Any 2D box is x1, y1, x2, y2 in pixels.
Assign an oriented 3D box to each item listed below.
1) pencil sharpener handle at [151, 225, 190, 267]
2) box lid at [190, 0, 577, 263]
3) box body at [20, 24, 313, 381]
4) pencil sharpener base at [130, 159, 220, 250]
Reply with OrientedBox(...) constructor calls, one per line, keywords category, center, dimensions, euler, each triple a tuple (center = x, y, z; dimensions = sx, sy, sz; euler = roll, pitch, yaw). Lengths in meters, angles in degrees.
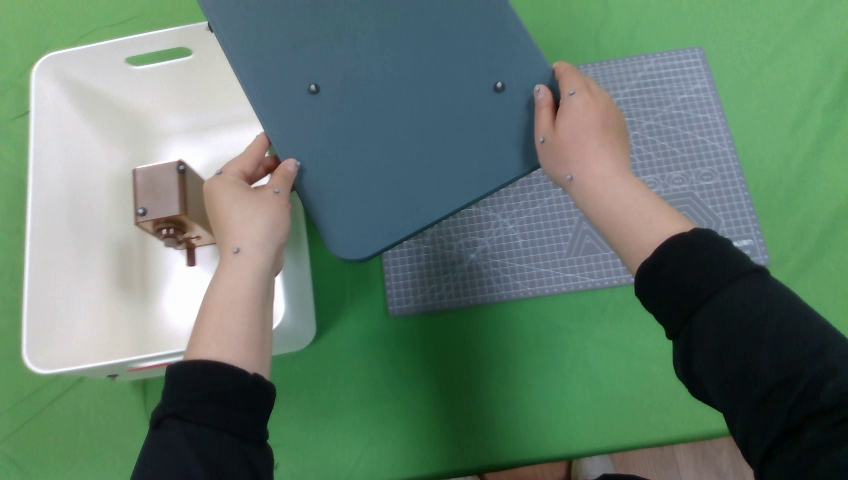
OrientedBox(category="pencil sharpener handle", center=(-0.282, 0.008, 0.687), dimensions=(0.036, 0.068, 0.030), euler=(-10, 73, -2))
OrientedBox(category="box lid", center=(-0.052, -0.187, 0.579), dimensions=(0.263, 0.015, 0.369), euler=(-29, 77, -5))
OrientedBox(category="box body", center=(-0.277, -0.035, 0.691), dimensions=(0.254, 0.161, 0.361), euler=(-11, 72, 0))
OrientedBox(category="pencil sharpener base", center=(-0.290, -0.036, 0.713), dimensions=(0.061, 0.107, 0.076), euler=(-11, 73, 1))
